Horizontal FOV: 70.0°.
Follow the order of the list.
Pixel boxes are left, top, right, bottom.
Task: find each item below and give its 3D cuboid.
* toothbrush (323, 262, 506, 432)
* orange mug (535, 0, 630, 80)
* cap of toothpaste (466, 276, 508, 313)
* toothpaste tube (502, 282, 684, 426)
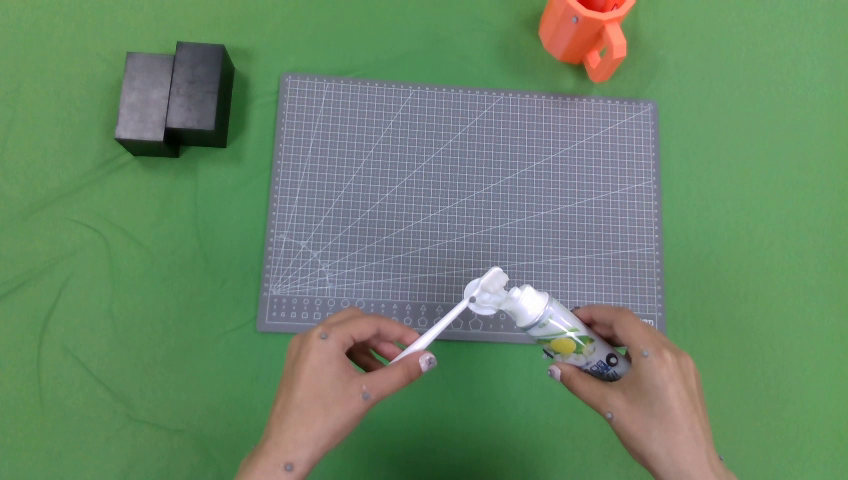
[{"bbox_3d":[-0.005,0.081,0.458,0.182,0.016,0.015,-42,123,-9],"label":"toothbrush"},{"bbox_3d":[0.190,-0.255,0.701,0.083,0.101,0.125,-18,76,-8],"label":"orange mug"},{"bbox_3d":[0.051,0.041,0.484,0.037,0.011,0.037,-1,59,1],"label":"cap of toothpaste"},{"bbox_3d":[0.126,0.090,0.478,0.165,0.055,0.034,40,41,-9],"label":"toothpaste tube"}]
